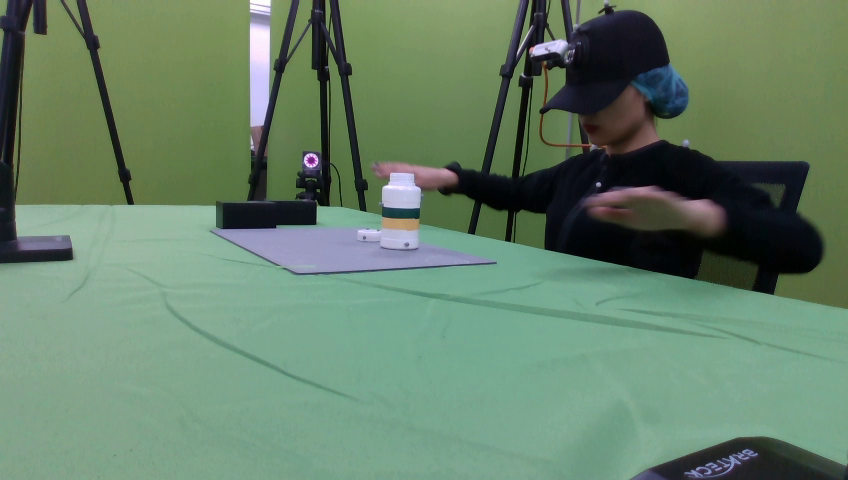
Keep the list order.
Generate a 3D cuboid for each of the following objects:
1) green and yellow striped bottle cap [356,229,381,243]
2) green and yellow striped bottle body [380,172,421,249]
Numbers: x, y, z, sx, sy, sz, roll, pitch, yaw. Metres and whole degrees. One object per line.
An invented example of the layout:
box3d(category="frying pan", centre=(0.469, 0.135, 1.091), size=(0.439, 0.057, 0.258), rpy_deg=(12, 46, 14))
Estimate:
box3d(category="green and yellow striped bottle cap", centre=(-0.094, -0.007, 1.040), size=(0.045, 0.020, 0.045), rpy_deg=(4, 6, 0))
box3d(category="green and yellow striped bottle body", centre=(-0.037, -0.048, 0.959), size=(0.063, 0.119, 0.063), rpy_deg=(3, 7, 0))
